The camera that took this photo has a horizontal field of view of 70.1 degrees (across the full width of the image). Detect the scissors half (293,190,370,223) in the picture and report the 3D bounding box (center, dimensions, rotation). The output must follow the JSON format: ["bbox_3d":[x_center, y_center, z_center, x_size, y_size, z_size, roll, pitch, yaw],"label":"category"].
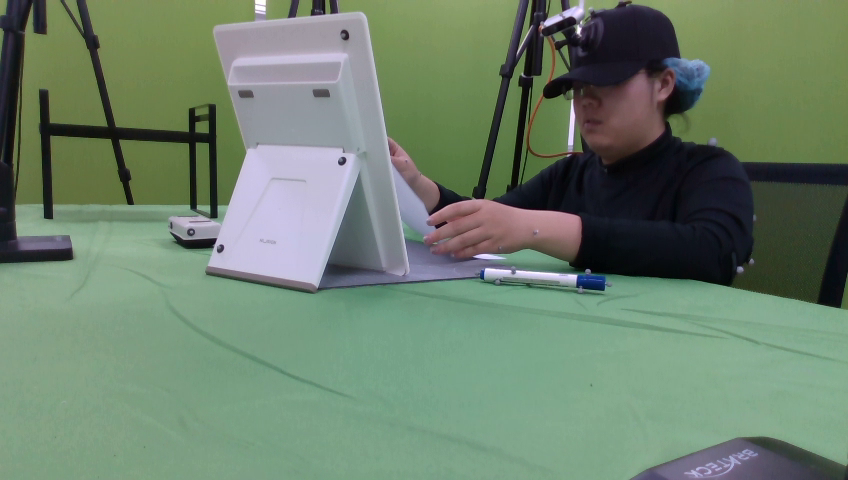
[{"bbox_3d":[-0.205,-0.077,1.338,0.175,0.040,0.013,22,12,-8],"label":"scissors half"}]

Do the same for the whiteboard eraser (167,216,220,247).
[{"bbox_3d":[-0.350,-0.013,0.920,0.056,0.042,0.112,0,7,-35],"label":"whiteboard eraser"}]

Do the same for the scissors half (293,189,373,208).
[{"bbox_3d":[-0.201,-0.096,1.332,0.175,0.040,0.013,5,20,-4],"label":"scissors half"}]

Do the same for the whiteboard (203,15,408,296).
[{"bbox_3d":[-0.166,-0.072,0.668,0.216,0.305,0.144,8,30,30],"label":"whiteboard"}]

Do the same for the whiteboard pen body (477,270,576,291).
[{"bbox_3d":[0.131,0.048,0.706,0.140,0.017,0.017,4,8,18],"label":"whiteboard pen body"}]

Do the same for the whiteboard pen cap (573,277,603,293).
[{"bbox_3d":[0.186,0.051,0.687,0.033,0.018,0.018,3,7,18],"label":"whiteboard pen cap"}]
